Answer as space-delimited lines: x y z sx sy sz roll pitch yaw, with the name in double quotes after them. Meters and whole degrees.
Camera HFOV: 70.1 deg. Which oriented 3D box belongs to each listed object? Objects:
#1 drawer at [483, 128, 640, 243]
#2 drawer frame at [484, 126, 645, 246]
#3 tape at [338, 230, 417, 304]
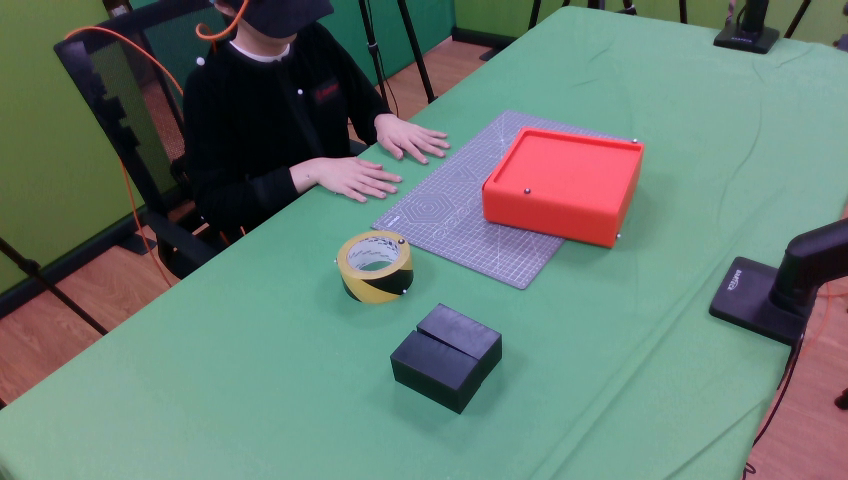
0.230 -0.096 1.006 0.210 0.073 0.194 14 44 23 "drawer"
0.234 -0.096 1.003 0.212 0.083 0.202 14 44 22 "drawer frame"
-0.069 0.041 0.918 0.117 0.053 0.116 -4 41 4 "tape"
